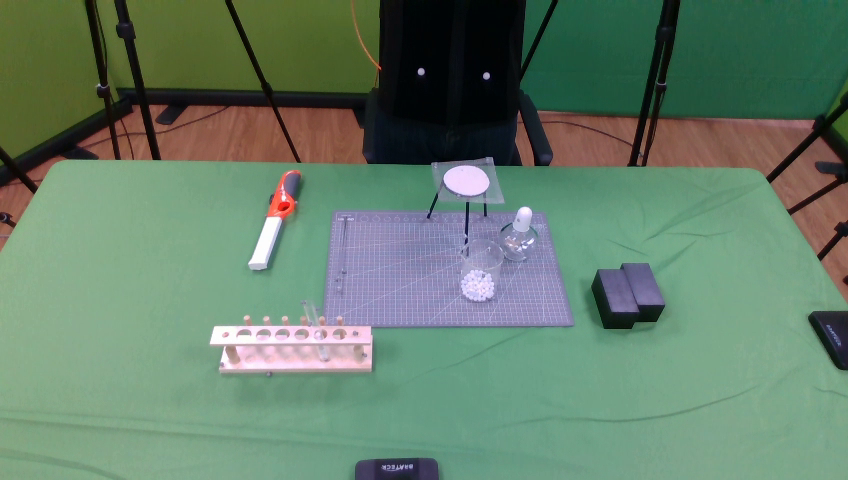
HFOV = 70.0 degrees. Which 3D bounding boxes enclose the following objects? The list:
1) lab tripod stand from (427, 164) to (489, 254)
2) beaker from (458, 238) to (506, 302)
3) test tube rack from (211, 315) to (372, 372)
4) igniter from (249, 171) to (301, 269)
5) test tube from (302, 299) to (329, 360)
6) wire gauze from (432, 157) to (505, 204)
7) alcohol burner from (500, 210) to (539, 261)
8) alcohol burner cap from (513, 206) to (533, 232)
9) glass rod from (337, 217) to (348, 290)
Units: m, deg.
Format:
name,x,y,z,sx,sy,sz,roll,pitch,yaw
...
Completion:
name,x,y,z,sx,sy,sz,roll,pitch,yaw
lab tripod stand,0.078,-0.068,1.188,0.148,0.132,0.147,3,47,-3
beaker,0.099,0.057,1.093,0.084,0.101,0.073,6,46,3
test tube rack,-0.208,0.163,0.982,0.242,0.085,0.066,1,46,-4
igniter,-0.298,-0.049,1.220,0.057,0.025,0.275,-1,45,9
test tube,-0.167,0.142,0.937,0.017,0.151,0.017,-2,47,2
wire gauze,0.081,-0.112,1.137,0.125,0.011,0.120,-2,48,-6
alcohol burner,0.185,-0.016,1.160,0.078,0.119,0.077,2,48,-2
alcohol burner cap,0.186,-0.042,1.134,0.034,0.048,0.033,6,41,-5
glass rod,-0.158,0.022,1.171,0.008,0.008,0.198,1,43,-2
